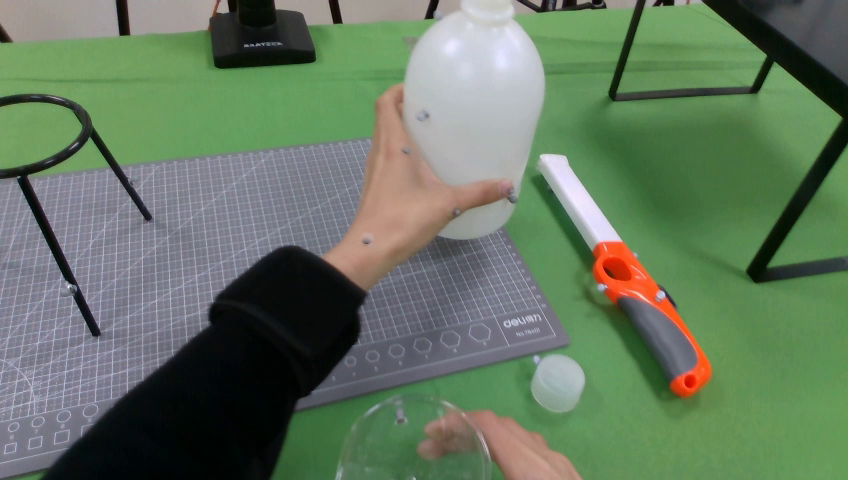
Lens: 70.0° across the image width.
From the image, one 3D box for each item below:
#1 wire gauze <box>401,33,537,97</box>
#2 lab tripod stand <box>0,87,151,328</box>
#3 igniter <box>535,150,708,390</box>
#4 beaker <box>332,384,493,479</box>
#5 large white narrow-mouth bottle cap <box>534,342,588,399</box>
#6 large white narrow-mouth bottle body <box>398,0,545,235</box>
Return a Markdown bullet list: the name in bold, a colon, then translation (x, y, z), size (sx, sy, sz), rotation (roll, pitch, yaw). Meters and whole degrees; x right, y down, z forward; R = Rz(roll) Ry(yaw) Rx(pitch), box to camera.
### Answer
- **wire gauze**: translation (0.047, -0.198, 0.667), size (0.122, 0.011, 0.123), rotation (-8, 47, -16)
- **lab tripod stand**: translation (-0.268, -0.028, 0.437), size (0.148, 0.132, 0.147), rotation (5, 45, -4)
- **igniter**: translation (0.163, 0.010, 0.529), size (0.057, 0.025, 0.273), rotation (0, 45, -22)
- **beaker**: translation (-0.010, 0.139, 0.330), size (0.084, 0.101, 0.073), rotation (-21, 51, -23)
- **large white narrow-mouth bottle cap**: translation (0.100, 0.095, 0.442), size (0.038, 0.024, 0.037), rotation (3, 45, -3)
- **large white narrow-mouth bottle body**: translation (0.035, -0.101, 0.447), size (0.102, 0.196, 0.101), rotation (4, 47, -4)
